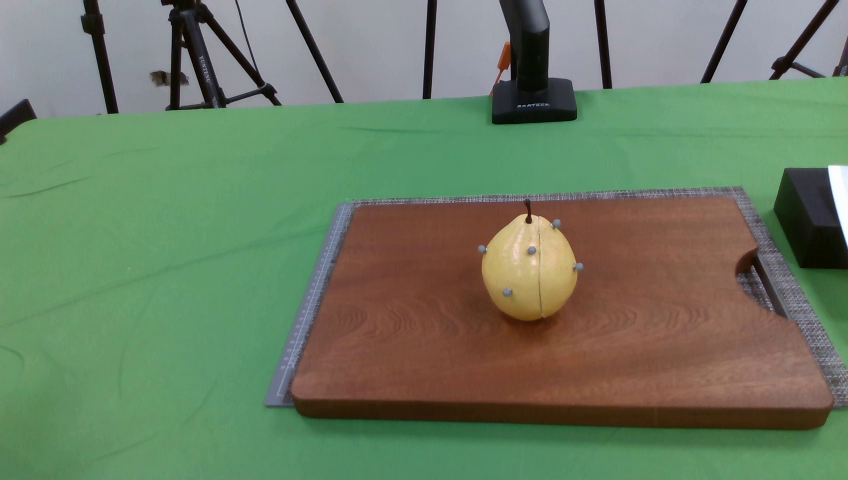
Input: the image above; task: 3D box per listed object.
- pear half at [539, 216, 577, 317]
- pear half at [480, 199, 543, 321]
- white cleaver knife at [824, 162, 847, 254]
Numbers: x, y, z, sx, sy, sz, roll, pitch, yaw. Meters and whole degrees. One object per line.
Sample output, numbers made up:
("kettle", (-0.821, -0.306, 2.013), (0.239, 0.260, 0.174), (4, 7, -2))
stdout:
("pear half", (0.109, 0.021, 0.497), (0.031, 0.089, 0.070), (-1, 30, 8))
("pear half", (0.073, 0.013, 0.498), (0.056, 0.111, 0.076), (-1, 34, 9))
("white cleaver knife", (0.389, 0.035, 0.494), (0.065, 0.022, 0.284), (-1, 48, 15))
